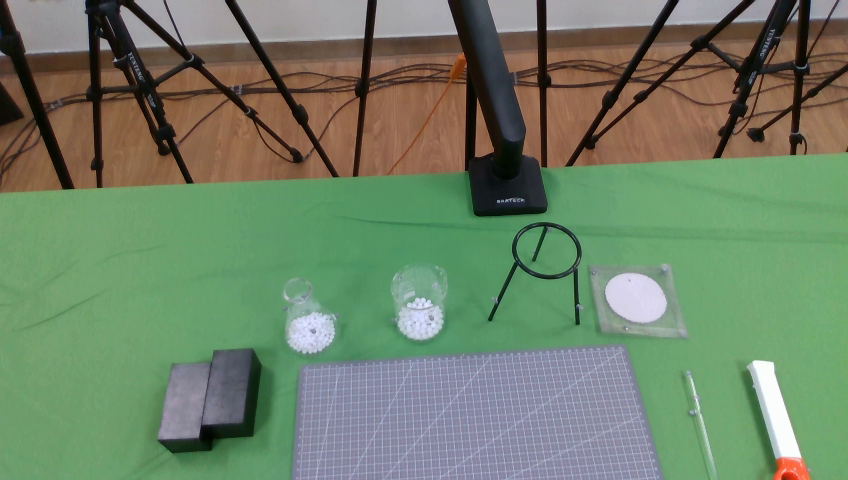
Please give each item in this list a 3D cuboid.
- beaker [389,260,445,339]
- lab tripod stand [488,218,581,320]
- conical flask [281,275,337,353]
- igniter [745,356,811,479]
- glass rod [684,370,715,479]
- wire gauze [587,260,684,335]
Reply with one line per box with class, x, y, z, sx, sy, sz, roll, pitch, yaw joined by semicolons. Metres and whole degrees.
beaker;-0.006;0.084;0.829;0.084;0.101;0.073;-36;62;-23
lab tripod stand;0.156;0.046;0.832;0.148;0.132;0.147;0;57;1
conical flask;-0.161;0.094;0.808;0.075;0.123;0.074;0;54;1
igniter;0.442;0.271;0.734;0.057;0.025;0.274;7;54;-7
glass rod;0.350;0.257;0.757;0.008;0.008;0.198;0;57;0
wire gauze;0.308;0.080;0.884;0.125;0.011;0.120;2;55;0
